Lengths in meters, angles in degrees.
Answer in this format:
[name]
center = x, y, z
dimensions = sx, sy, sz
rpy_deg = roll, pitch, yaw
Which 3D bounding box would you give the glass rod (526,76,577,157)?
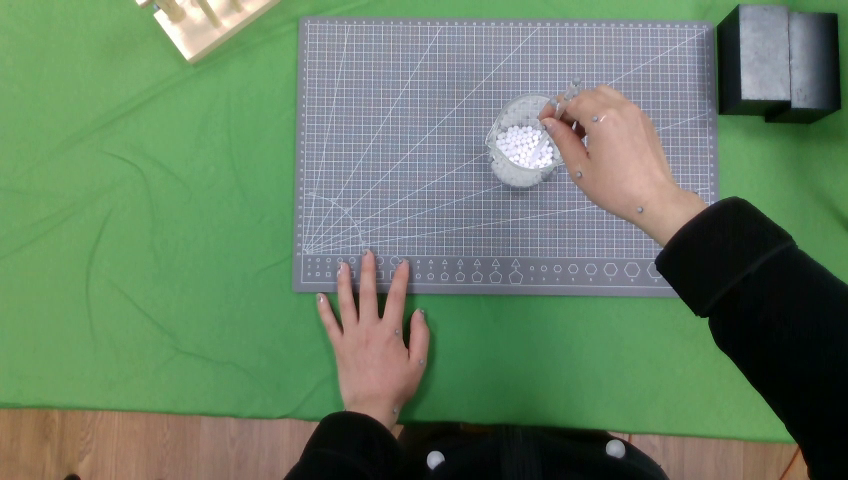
[glass rod]
center = 0.108, -0.102, 0.531
dimensions = 0.008, 0.200, 0.008
rpy_deg = 0, 82, 1

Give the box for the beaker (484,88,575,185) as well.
[beaker]
center = 0.097, -0.096, 0.599
dimensions = 0.084, 0.100, 0.074
rpy_deg = -10, 85, 0

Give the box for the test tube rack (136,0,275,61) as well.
[test tube rack]
center = -0.178, -0.296, 0.624
dimensions = 0.242, 0.085, 0.066
rpy_deg = -37, 86, -3
